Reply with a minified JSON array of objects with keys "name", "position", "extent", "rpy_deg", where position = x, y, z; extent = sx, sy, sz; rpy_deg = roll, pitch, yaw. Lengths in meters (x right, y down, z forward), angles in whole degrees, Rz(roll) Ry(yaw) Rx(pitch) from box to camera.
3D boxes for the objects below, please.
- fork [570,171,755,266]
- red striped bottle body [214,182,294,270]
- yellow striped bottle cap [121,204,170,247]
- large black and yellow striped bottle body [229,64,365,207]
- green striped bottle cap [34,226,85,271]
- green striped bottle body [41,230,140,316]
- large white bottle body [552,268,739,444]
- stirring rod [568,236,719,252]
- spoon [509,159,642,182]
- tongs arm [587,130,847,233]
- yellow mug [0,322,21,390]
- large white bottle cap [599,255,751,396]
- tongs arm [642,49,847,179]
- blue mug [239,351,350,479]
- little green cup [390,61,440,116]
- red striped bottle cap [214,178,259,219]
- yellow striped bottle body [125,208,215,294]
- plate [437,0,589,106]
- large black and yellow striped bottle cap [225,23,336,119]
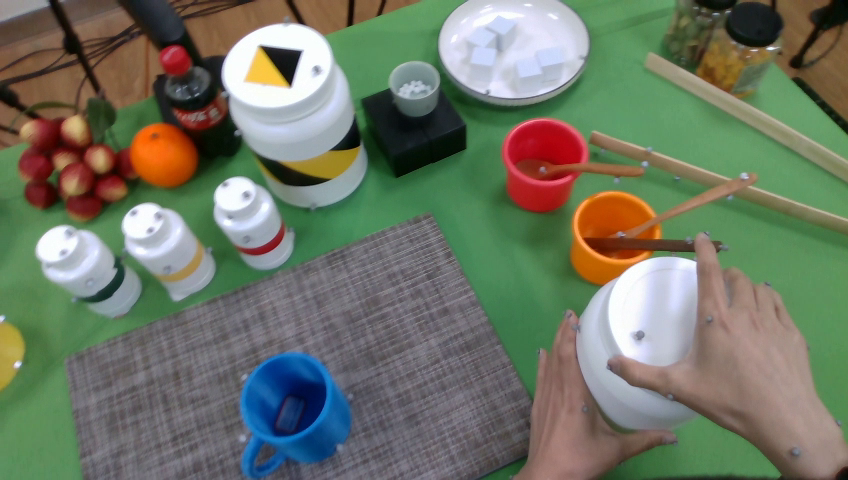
[{"name":"fork","position":[0.245,-0.020,0.643],"extent":[0.207,0.019,0.028],"rpy_deg":[-32,51,37]},{"name":"red striped bottle body","position":[-0.193,-0.019,0.683],"extent":[0.063,0.121,0.062],"rpy_deg":[-3,61,5]},{"name":"yellow striped bottle cap","position":[-0.288,-0.016,0.627],"extent":[0.044,0.019,0.044],"rpy_deg":[0,57,0]},{"name":"large black and yellow striped bottle body","position":[-0.146,-0.137,0.708],"extent":[0.131,0.185,0.129],"rpy_deg":[-1,62,3]},{"name":"green striped bottle cap","position":[-0.372,0.008,0.618],"extent":[0.044,0.020,0.044],"rpy_deg":[-1,60,1]},{"name":"green striped bottle body","position":[-0.368,0.033,0.664],"extent":[0.063,0.120,0.062],"rpy_deg":[-1,61,2]},{"name":"large white bottle body","position":[0.198,0.105,0.552],"extent":[0.130,0.186,0.129],"rpy_deg":[0,62,0]},{"name":"stirring rod","position":[0.223,0.003,0.637],"extent":[0.014,0.006,0.175],"rpy_deg":[-47,27,-26]},{"name":"spoon","position":[0.164,-0.080,0.683],"extent":[0.041,0.192,0.022],"rpy_deg":[-39,111,-21]},{"name":"tongs arm","position":[0.387,-0.072,0.727],"extent":[0.383,0.027,0.050],"rpy_deg":[24,62,15]},{"name":"yellow mug","position":[-0.502,0.136,0.647],"extent":[0.100,0.064,0.129],"rpy_deg":[-14,62,-4]},{"name":"large white bottle cap","position":[0.197,0.065,0.478],"extent":[0.115,0.018,0.114],"rpy_deg":[1,62,-2]},{"name":"tongs arm","position":[0.439,-0.137,0.763],"extent":[0.384,0.028,0.028],"rpy_deg":[40,64,21]},{"name":"blue mug","position":[-0.130,0.176,0.579],"extent":[0.082,0.107,0.116],"rpy_deg":[30,67,19]},{"name":"little green cup","position":[-0.011,-0.186,0.752],"extent":[0.061,0.039,0.061],"rpy_deg":[-1,59,2]},{"name":"red striped bottle cap","position":[-0.197,-0.044,0.637],"extent":[0.044,0.018,0.044],"rpy_deg":[0,59,0]},{"name":"yellow striped bottle body","position":[-0.284,0.009,0.673],"extent":[0.063,0.121,0.062],"rpy_deg":[-2,61,3]},{"name":"plate","position":[0.121,-0.265,0.845],"extent":[0.209,0.038,0.207],"rpy_deg":[-1,62,2]},{"name":"large black and yellow striped bottle cap","position":[-0.150,-0.177,0.631],"extent":[0.115,0.019,0.114],"rpy_deg":[-2,64,5]}]
